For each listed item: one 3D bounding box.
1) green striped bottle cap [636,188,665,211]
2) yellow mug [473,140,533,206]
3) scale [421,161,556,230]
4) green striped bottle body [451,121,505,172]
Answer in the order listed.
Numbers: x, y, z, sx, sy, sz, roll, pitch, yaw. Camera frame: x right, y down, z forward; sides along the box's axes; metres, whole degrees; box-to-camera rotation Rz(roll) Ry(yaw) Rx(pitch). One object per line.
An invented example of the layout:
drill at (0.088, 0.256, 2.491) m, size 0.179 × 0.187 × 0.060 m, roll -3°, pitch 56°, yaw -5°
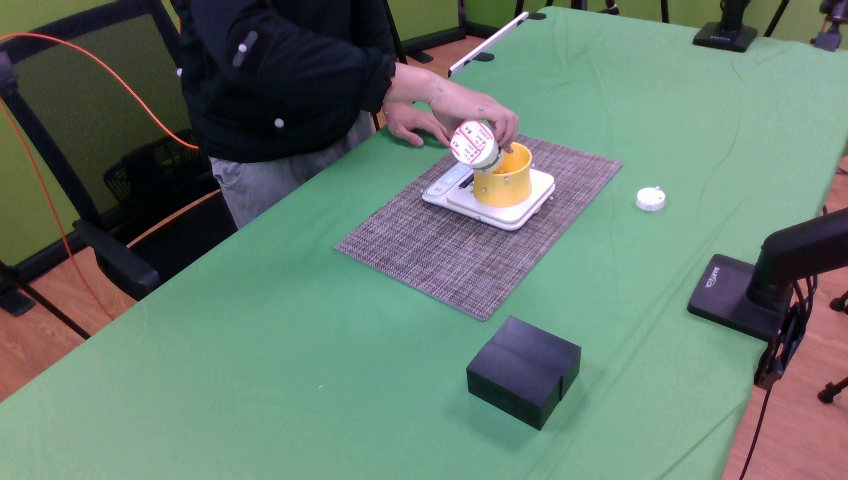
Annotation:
green striped bottle cap at (0.374, -0.067, 0.998) m, size 0.044 × 0.020 × 0.044 m, roll -6°, pitch 39°, yaw 5°
yellow mug at (0.125, -0.121, 1.004) m, size 0.100 × 0.064 × 0.130 m, roll -13°, pitch 41°, yaw -5°
scale at (0.110, -0.089, 1.042) m, size 0.199 × 0.032 × 0.149 m, roll 23°, pitch 48°, yaw 31°
green striped bottle body at (0.085, -0.136, 0.902) m, size 0.063 × 0.063 × 0.120 m, roll 7°, pitch 1°, yaw 17°
